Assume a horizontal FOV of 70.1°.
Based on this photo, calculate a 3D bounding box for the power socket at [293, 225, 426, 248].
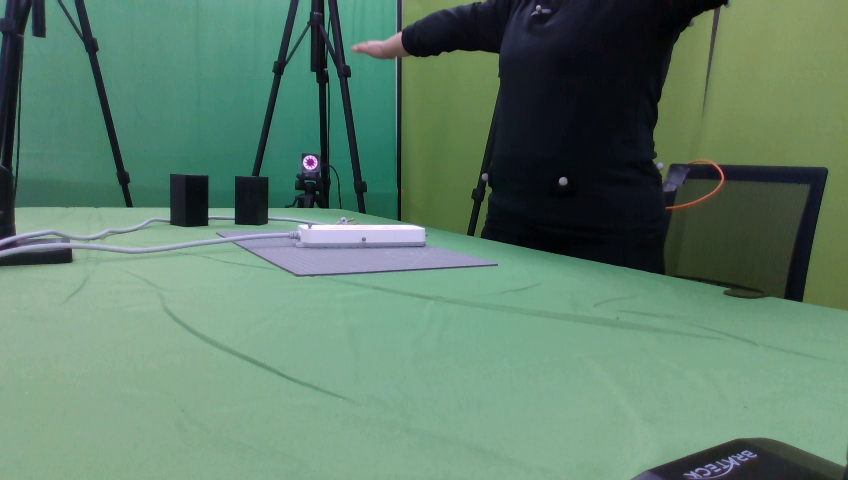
[{"bbox_3d":[-0.104,-0.008,1.003,0.228,0.032,0.072,-1,7,-23],"label":"power socket"}]

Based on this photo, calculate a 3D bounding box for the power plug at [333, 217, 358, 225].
[{"bbox_3d":[-0.153,-0.030,1.125,0.053,0.035,0.072,-18,24,-13],"label":"power plug"}]
